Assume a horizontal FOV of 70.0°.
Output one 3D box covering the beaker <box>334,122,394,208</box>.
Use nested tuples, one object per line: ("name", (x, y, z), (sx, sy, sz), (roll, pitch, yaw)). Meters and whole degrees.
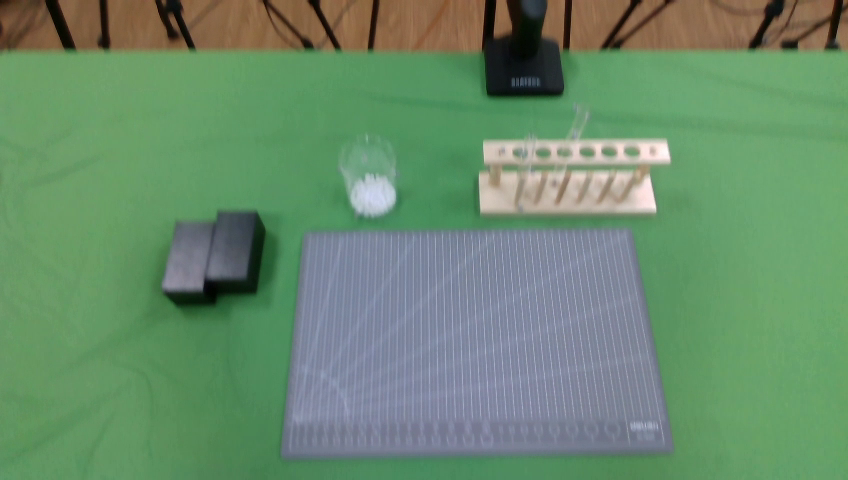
("beaker", (-0.077, -0.097, 0.811), (0.074, 0.101, 0.083), (-4, 62, -3))

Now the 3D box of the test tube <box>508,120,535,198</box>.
("test tube", (0.123, -0.101, 0.772), (0.017, 0.151, 0.017), (0, 60, 0))

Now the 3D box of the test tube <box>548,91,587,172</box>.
("test tube", (0.184, -0.135, 0.785), (0.017, 0.151, 0.017), (2, 60, -2))

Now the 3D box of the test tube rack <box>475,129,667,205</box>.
("test tube rack", (0.194, -0.097, 0.821), (0.242, 0.086, 0.066), (0, 63, 0))
